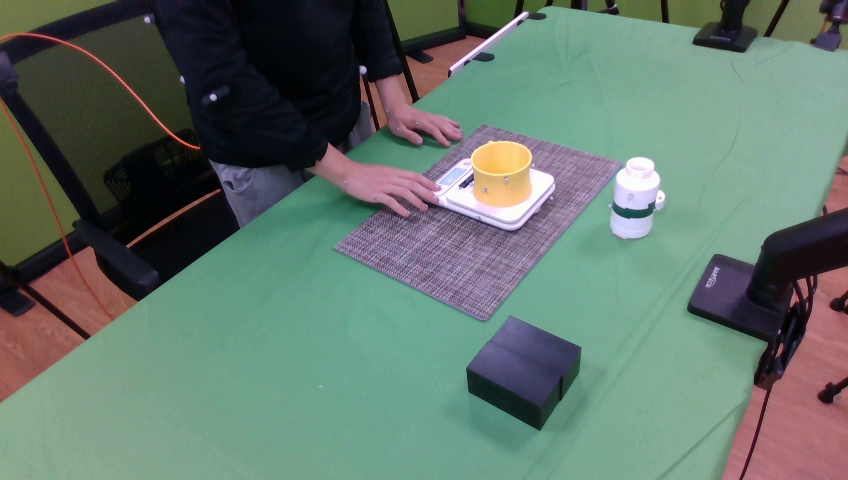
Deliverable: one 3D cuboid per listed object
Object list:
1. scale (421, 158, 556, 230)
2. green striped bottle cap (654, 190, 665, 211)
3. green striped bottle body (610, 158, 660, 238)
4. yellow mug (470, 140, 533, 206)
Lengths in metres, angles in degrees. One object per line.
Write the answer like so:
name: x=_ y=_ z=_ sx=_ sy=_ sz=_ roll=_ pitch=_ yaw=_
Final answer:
scale: x=0.110 y=-0.089 z=1.042 sx=0.199 sy=0.032 sz=0.149 roll=23 pitch=48 yaw=31
green striped bottle cap: x=0.375 y=-0.066 z=0.998 sx=0.044 sy=0.020 sz=0.044 roll=-8 pitch=38 yaw=7
green striped bottle body: x=0.323 y=-0.066 z=0.923 sx=0.063 sy=0.120 sz=0.063 roll=-4 pitch=41 yaw=4
yellow mug: x=0.124 y=-0.121 z=1.004 sx=0.100 sy=0.064 sz=0.130 roll=-13 pitch=40 yaw=-5
